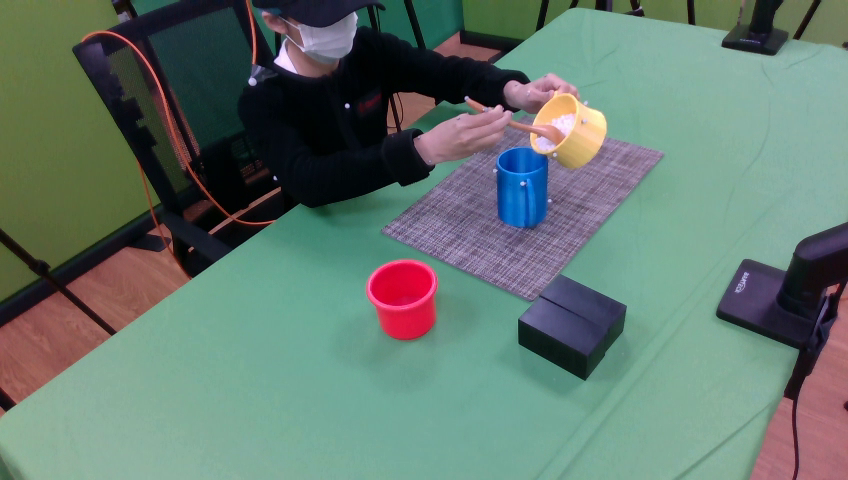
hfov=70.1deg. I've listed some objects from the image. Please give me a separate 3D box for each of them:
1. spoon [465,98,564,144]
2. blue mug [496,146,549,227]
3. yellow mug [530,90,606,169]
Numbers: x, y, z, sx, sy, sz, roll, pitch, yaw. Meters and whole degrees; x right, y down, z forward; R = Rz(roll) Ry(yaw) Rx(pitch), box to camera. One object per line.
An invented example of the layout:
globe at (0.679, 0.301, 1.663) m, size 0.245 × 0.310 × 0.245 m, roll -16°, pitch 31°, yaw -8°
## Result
spoon at (0.142, -0.173, 0.901) m, size 0.195 × 0.021 × 0.041 m, roll 13°, pitch 49°, yaw -26°
blue mug at (0.162, -0.076, 0.969) m, size 0.082 × 0.106 × 0.116 m, roll -9°, pitch 40°, yaw -1°
yellow mug at (0.224, -0.183, 0.950) m, size 0.064 × 0.099 × 0.130 m, roll 22°, pitch 55°, yaw -30°
